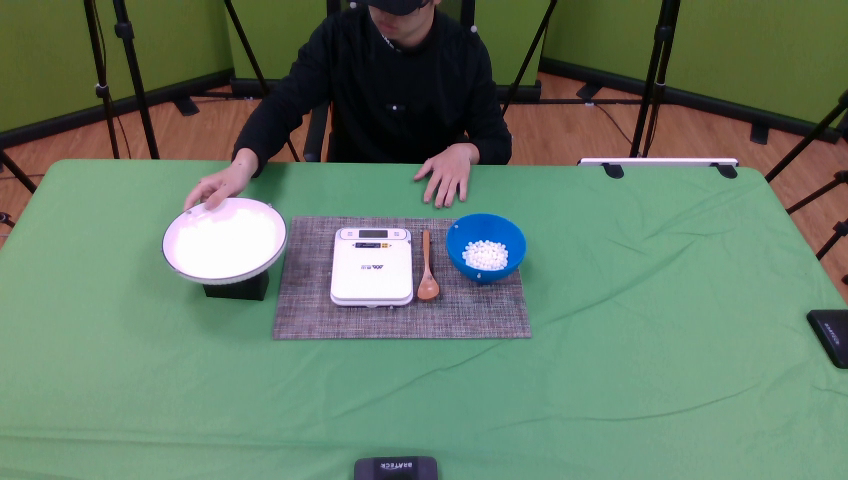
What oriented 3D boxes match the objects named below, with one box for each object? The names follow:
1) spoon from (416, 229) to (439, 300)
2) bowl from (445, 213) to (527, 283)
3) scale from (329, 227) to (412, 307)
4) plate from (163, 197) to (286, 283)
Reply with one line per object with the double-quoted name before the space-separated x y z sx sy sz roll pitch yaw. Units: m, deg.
"spoon" 0.005 0.043 1.152 0.041 0.022 0.192 -9 46 8
"bowl" 0.112 0.027 1.136 0.151 0.077 0.150 2 46 -2
"scale" -0.099 0.042 1.139 0.149 0.032 0.199 1 46 -4
"plate" -0.348 0.003 1.073 0.209 0.038 0.208 2 44 -2
